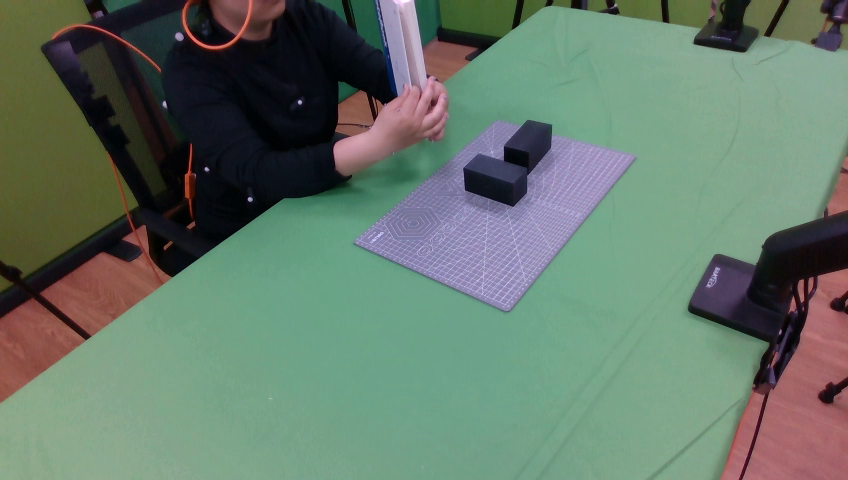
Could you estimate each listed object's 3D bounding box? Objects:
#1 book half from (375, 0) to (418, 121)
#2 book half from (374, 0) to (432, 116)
[{"bbox_3d":[-0.051,-0.328,1.054,0.007,0.211,0.142,-19,42,-10],"label":"book half"},{"bbox_3d":[-0.038,-0.335,1.060,0.016,0.211,0.147,-25,43,-15],"label":"book half"}]
